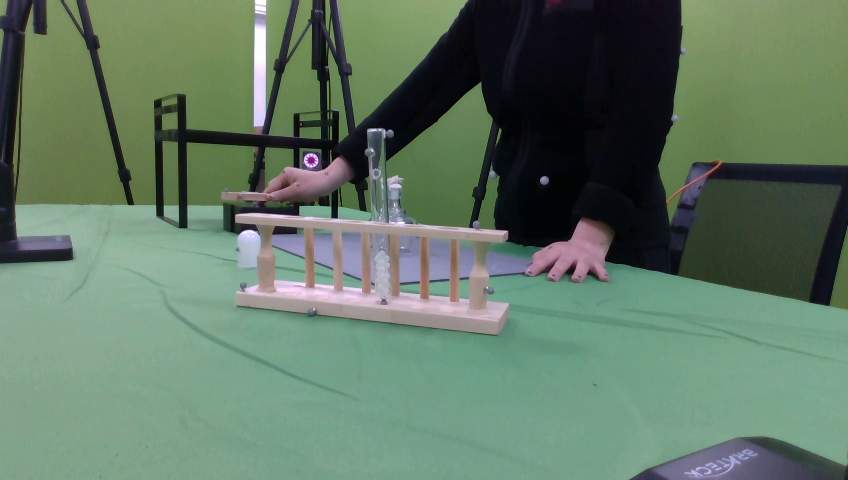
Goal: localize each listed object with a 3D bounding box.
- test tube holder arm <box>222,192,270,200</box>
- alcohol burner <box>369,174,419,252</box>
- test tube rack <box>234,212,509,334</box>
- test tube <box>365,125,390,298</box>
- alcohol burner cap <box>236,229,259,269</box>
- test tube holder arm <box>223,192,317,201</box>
[{"bbox_3d":[-0.319,-0.079,1.091,0.088,0.015,0.010,-2,8,-35],"label":"test tube holder arm"},{"bbox_3d":[-0.046,-0.041,0.922,0.078,0.119,0.078,1,9,0],"label":"alcohol burner"},{"bbox_3d":[-0.047,0.023,0.547,0.242,0.085,0.067,4,8,15],"label":"test tube rack"},{"bbox_3d":[-0.040,-0.023,0.523,0.017,0.150,0.017,-2,8,1],"label":"test tube"},{"bbox_3d":[-0.220,0.010,0.759,0.034,0.048,0.034,0,12,0],"label":"alcohol burner cap"},{"bbox_3d":[-0.279,-0.080,1.113,0.179,0.015,0.013,-2,8,-35],"label":"test tube holder arm"}]
